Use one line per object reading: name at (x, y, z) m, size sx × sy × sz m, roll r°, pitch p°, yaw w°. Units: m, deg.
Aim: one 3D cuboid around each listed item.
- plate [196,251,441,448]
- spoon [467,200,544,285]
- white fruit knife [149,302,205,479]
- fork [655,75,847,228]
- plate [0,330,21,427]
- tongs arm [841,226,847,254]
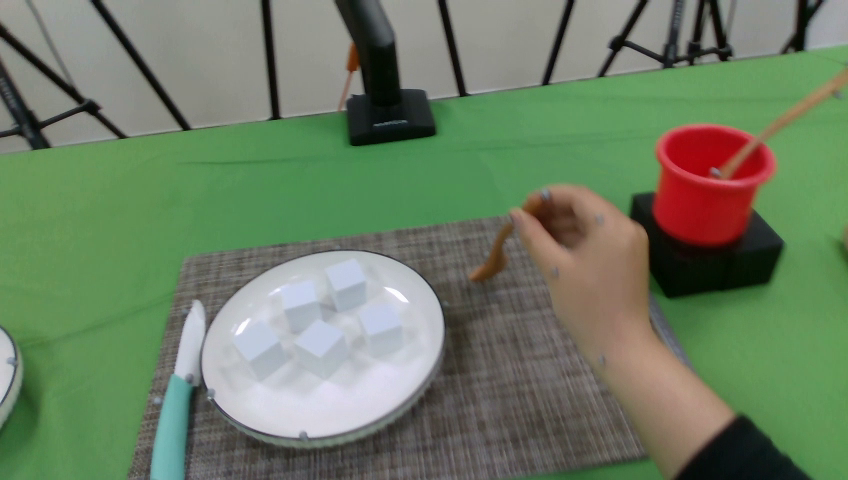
plate at (-0.088, 0.092, 0.529) m, size 0.207 × 0.039 × 0.205 m, roll -2°, pitch 41°, yaw 2°
spoon at (0.065, 0.006, 0.504) m, size 0.041 × 0.195 × 0.021 m, roll -27°, pitch 73°, yaw -13°
white fruit knife at (-0.207, 0.125, 0.520) m, size 0.027 × 0.016 × 0.205 m, roll 14°, pitch 33°, yaw -22°
fork at (0.296, -0.078, 0.536) m, size 0.207 × 0.019 × 0.028 m, roll -44°, pitch 29°, yaw 20°
plate at (-0.441, 0.151, 0.498) m, size 0.209 × 0.038 × 0.207 m, roll -2°, pitch 40°, yaw 2°
tongs arm at (0.411, 0.117, 0.463) m, size 0.028 × 0.028 × 0.384 m, roll 2°, pitch 41°, yaw 4°
